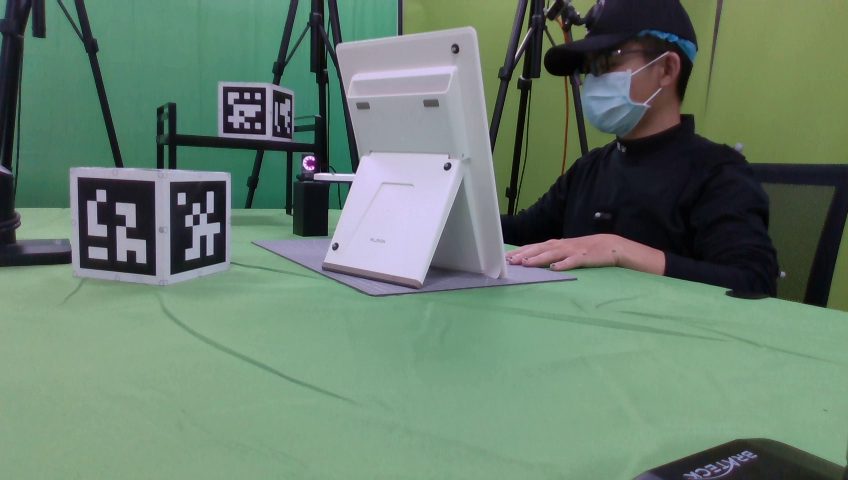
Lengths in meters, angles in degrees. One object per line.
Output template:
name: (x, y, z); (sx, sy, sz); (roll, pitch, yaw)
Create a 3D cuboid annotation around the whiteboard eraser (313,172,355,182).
whiteboard eraser: (-0.164, -0.121, 1.163); (0.102, 0.019, 0.041); (-1, 6, -27)

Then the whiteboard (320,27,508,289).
whiteboard: (-0.045, -0.076, 0.721); (0.216, 0.305, 0.144); (9, 29, 39)
